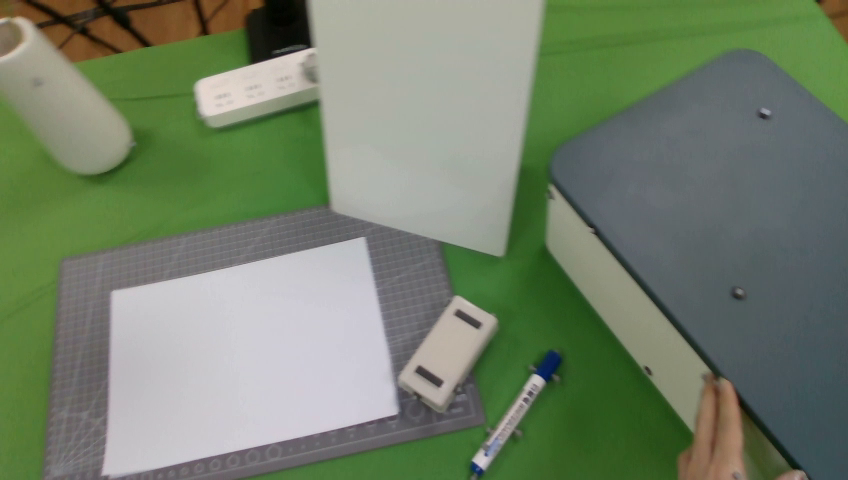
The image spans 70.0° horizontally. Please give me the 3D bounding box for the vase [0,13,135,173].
[{"bbox_3d":[-0.433,-0.167,0.720,0.098,0.202,0.097,-2,61,5],"label":"vase"}]

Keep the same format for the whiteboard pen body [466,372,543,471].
[{"bbox_3d":[0.088,0.171,0.607,0.017,0.017,0.140,34,69,21],"label":"whiteboard pen body"}]

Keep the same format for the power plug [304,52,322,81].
[{"bbox_3d":[-0.139,-0.213,0.793,0.035,0.053,0.072,-8,68,0],"label":"power plug"}]

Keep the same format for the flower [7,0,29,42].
[{"bbox_3d":[-0.418,-0.203,0.645,0.038,0.363,0.044,36,60,2],"label":"flower"}]

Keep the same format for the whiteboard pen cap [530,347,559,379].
[{"bbox_3d":[0.124,0.128,0.626,0.018,0.018,0.033,33,70,20],"label":"whiteboard pen cap"}]

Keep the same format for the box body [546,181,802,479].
[{"bbox_3d":[0.313,0.034,0.581,0.254,0.162,0.360,-29,63,-11],"label":"box body"}]

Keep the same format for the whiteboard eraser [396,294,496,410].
[{"bbox_3d":[0.023,0.114,0.624,0.055,0.042,0.112,29,68,19],"label":"whiteboard eraser"}]

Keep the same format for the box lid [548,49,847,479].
[{"bbox_3d":[0.307,-0.004,0.516,0.263,0.015,0.368,-29,64,-10],"label":"box lid"}]

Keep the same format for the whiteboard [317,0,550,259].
[{"bbox_3d":[0.018,-0.161,0.660,0.216,0.308,0.143,16,43,13],"label":"whiteboard"}]

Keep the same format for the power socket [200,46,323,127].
[{"bbox_3d":[-0.195,-0.212,0.822,0.227,0.033,0.071,-17,63,-5],"label":"power socket"}]
